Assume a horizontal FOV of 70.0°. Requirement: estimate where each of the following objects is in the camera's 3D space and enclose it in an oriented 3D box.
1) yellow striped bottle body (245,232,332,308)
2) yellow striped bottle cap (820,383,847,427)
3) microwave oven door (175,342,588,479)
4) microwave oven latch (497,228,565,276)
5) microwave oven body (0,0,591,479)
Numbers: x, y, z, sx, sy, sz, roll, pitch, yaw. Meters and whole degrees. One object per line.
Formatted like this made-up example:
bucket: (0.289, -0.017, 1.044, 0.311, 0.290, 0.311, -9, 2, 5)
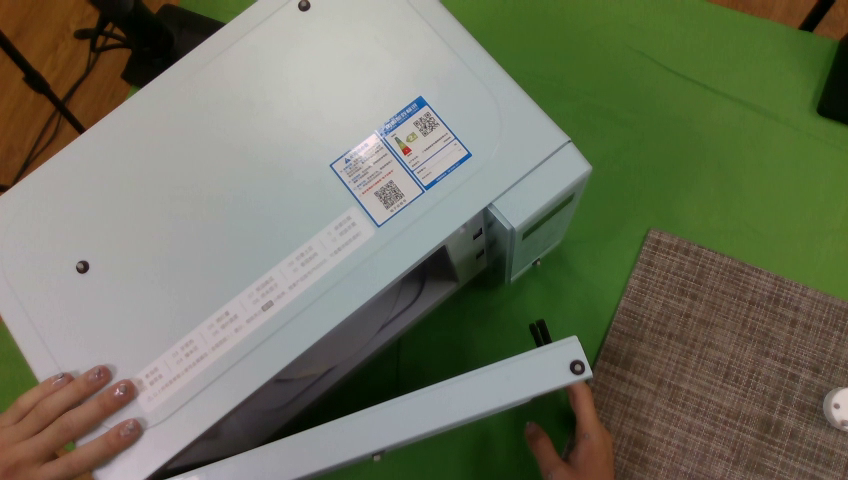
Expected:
yellow striped bottle body: (-0.133, 0.030, 0.596, 0.063, 0.121, 0.062, -1, 78, 4)
yellow striped bottle cap: (0.432, 0.169, 0.618, 0.044, 0.019, 0.044, -2, 77, 8)
microwave oven door: (-0.040, 0.166, 0.542, 0.356, 0.245, 0.039, -20, 74, 2)
microwave oven latch: (0.117, 0.005, 0.666, 0.079, 0.029, 0.030, -37, 76, -2)
microwave oven body: (-0.124, -0.018, 0.599, 0.441, 0.261, 0.324, -39, 76, -3)
